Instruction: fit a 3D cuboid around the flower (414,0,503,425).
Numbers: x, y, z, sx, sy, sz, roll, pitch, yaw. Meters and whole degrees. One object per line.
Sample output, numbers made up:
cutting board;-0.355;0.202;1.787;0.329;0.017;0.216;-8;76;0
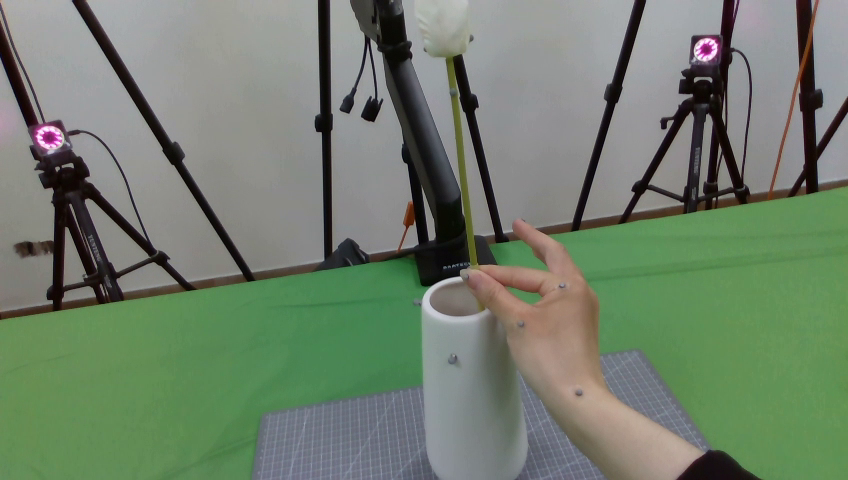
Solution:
flower;0.036;-0.016;0.469;0.038;0.363;0.043;-13;15;-12

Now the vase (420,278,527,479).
vase;0.042;0.135;0.553;0.098;0.201;0.097;-6;27;3
